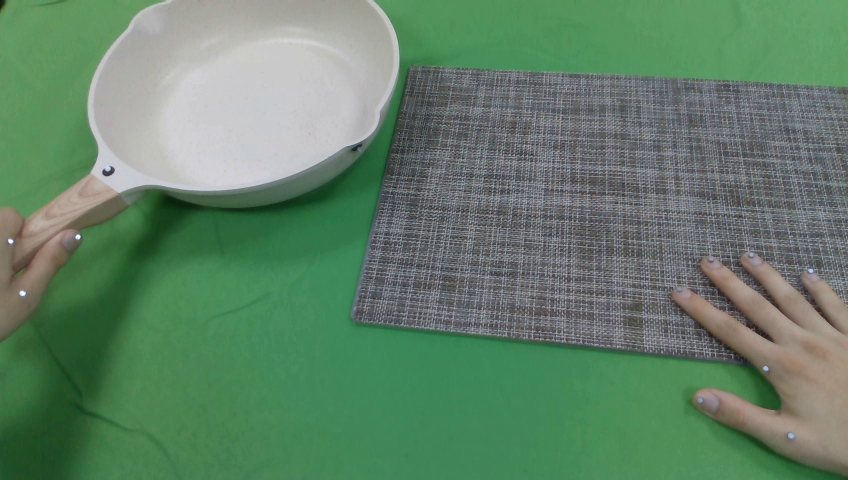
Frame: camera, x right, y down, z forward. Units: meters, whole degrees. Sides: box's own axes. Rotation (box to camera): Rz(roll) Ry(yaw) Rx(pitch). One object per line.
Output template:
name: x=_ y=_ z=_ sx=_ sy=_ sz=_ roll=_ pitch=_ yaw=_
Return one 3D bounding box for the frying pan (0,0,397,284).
frying pan: x=-0.231 y=-0.084 z=0.541 sx=0.304 sy=0.103 sz=0.487 roll=31 pitch=57 yaw=22
